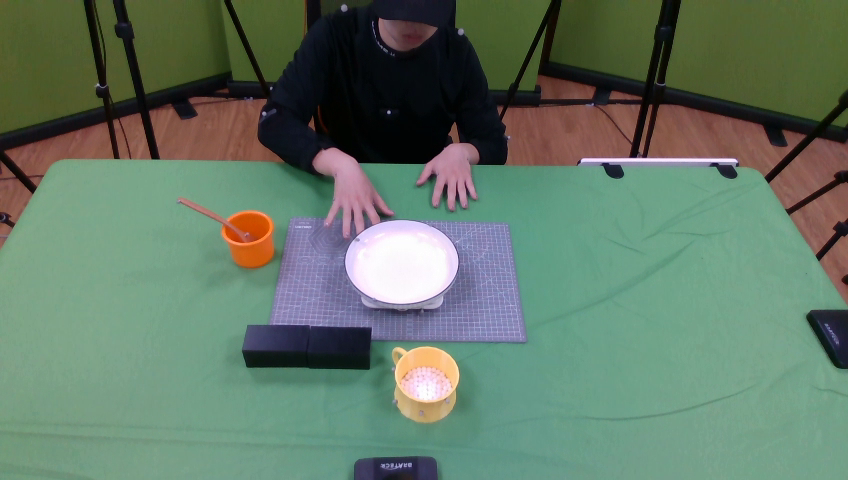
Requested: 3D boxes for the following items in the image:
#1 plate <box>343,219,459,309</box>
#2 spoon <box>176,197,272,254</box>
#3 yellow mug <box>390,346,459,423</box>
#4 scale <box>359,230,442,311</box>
[{"bbox_3d":[-0.041,0.046,1.094,0.209,0.038,0.208,2,46,-1],"label":"plate"},{"bbox_3d":[-0.362,-0.027,1.108,0.021,0.195,0.041,-35,36,24],"label":"spoon"},{"bbox_3d":[-0.009,0.217,0.958,0.100,0.064,0.130,-33,56,-31],"label":"yellow mug"},{"bbox_3d":[-0.042,0.047,1.138,0.149,0.032,0.199,2,45,-3],"label":"scale"}]
